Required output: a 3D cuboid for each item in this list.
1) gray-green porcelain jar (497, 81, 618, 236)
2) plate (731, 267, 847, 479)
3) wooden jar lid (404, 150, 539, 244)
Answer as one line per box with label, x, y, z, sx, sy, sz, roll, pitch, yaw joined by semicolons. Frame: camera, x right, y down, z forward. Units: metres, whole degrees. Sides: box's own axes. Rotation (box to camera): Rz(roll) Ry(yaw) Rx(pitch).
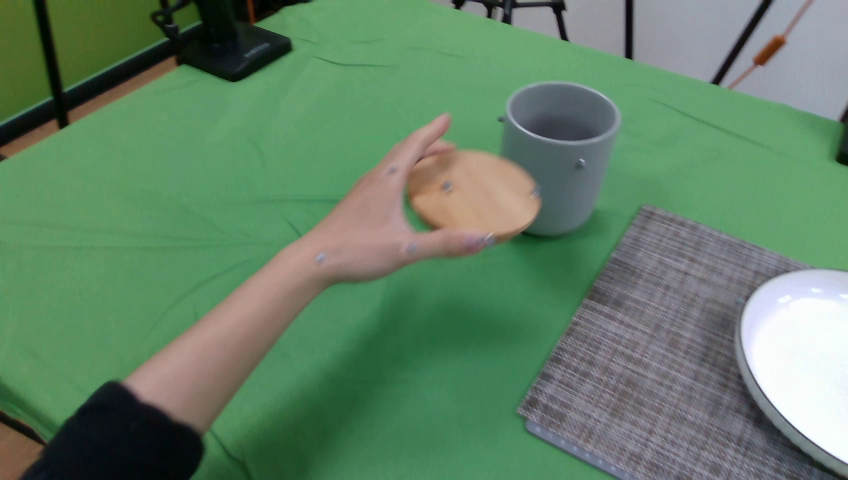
gray-green porcelain jar;0.125;-0.076;0.603;0.106;0.127;0.105;1;45;0
plate;0.350;0.110;0.481;0.208;0.039;0.205;1;45;-1
wooden jar lid;0.037;-0.034;0.486;0.108;0.021;0.107;7;43;-6
